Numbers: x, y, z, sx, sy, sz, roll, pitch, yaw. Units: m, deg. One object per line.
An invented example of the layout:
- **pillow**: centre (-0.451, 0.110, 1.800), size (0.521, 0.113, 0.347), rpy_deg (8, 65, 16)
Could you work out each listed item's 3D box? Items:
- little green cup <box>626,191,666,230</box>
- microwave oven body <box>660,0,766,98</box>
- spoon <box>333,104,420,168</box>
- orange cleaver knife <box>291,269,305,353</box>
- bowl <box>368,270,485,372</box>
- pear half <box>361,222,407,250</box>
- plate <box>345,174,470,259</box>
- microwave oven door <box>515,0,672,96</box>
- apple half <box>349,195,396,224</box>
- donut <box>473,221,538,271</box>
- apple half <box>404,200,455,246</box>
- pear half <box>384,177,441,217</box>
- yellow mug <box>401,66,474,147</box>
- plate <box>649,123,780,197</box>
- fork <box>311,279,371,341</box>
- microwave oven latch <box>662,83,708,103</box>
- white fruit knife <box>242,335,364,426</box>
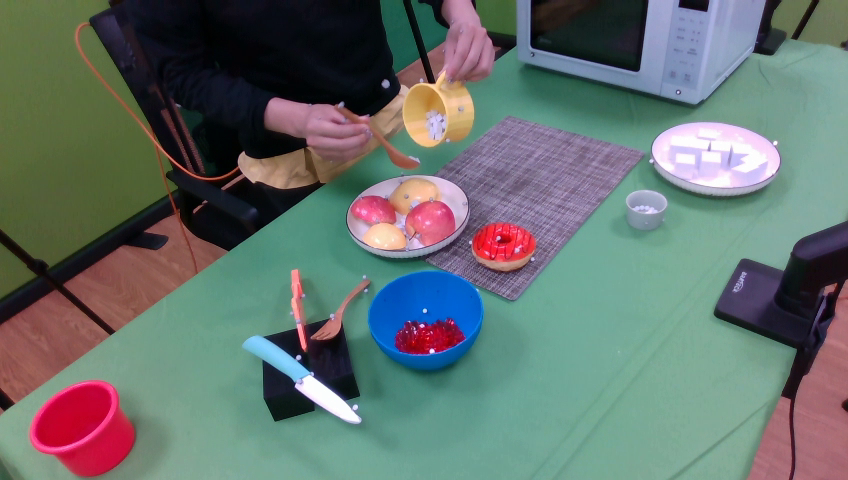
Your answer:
- **little green cup**: centre (0.352, -0.046, 0.963), size (0.061, 0.039, 0.061), rpy_deg (-4, 40, 4)
- **microwave oven body**: centre (0.472, -0.513, 1.317), size (0.438, 0.261, 0.327), rpy_deg (26, 51, 34)
- **spoon**: centre (-0.071, -0.155, 0.918), size (0.041, 0.195, 0.021), rpy_deg (-3, 64, 37)
- **orange cleaver knife**: centre (-0.175, 0.094, 0.844), size (0.012, 0.077, 0.210), rpy_deg (-11, 15, -10)
- **bowl**: centre (0.007, 0.118, 0.791), size (0.151, 0.077, 0.150), rpy_deg (-5, 40, 4)
- **pear half**: centre (-0.063, -0.012, 0.958), size (0.071, 0.031, 0.087), rpy_deg (2, 25, -25)
- **plate**: centre (-0.026, -0.037, 1.004), size (0.209, 0.038, 0.208), rpy_deg (-4, 40, 4)
- **microwave oven door**: centre (0.344, -0.455, 1.259), size (0.353, 0.245, 0.039), rpy_deg (26, 51, 33)
- **apple half**: centre (-0.081, -0.056, 1.009), size (0.081, 0.033, 0.081), rpy_deg (11, 24, -5)
- **donut**: centre (0.123, 0.008, 0.923), size (0.099, 0.048, 0.098), rpy_deg (-3, 38, 3)
- **apple half**: centre (0.009, -0.035, 0.969), size (0.075, 0.053, 0.080), rpy_deg (-27, 41, -23)
- **pear half**: centre (-0.030, -0.079, 1.033), size (0.109, 0.056, 0.076), rpy_deg (-1, 36, 16)
- **yellow mug**: centre (0.026, -0.216, 0.959), size (0.099, 0.131, 0.064), rpy_deg (41, 39, 25)
- **plate**: centre (0.497, -0.134, 1.046), size (0.207, 0.039, 0.206), rpy_deg (-4, 40, 4)
- **fork**: centre (-0.108, 0.092, 0.832), size (0.028, 0.019, 0.207), rpy_deg (-6, 19, 15)
- **microwave oven latch**: centre (0.517, -0.296, 1.204), size (0.078, 0.029, 0.030), rpy_deg (28, 52, 35)
- **white fruit knife**: centre (-0.148, 0.167, 0.730), size (0.206, 0.016, 0.027), rpy_deg (26, 79, 31)
